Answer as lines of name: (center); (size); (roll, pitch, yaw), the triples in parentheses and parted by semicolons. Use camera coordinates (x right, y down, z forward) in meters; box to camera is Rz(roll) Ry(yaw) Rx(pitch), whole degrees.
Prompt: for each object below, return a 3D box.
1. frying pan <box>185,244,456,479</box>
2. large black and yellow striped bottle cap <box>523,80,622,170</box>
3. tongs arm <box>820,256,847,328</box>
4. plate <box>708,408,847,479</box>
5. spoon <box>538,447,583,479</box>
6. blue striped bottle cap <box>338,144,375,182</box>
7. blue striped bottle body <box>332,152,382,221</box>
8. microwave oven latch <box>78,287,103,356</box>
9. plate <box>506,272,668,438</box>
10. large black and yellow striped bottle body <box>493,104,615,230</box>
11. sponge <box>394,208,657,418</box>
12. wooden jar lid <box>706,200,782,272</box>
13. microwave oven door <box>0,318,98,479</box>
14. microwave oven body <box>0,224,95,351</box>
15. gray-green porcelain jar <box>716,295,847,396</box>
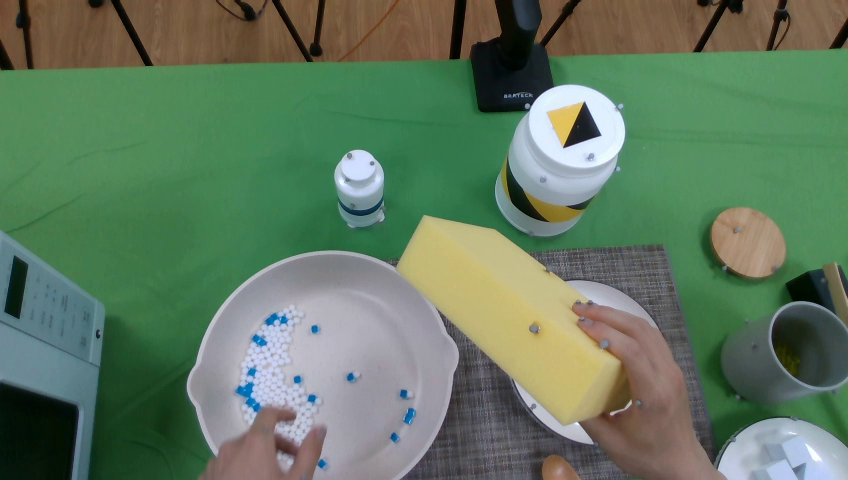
frying pan: (-0.104, 0.240, 0.670); (0.307, 0.103, 0.483); (-5, 61, -5)
large black and yellow striped bottle cap: (0.174, -0.136, 0.709); (0.115, 0.019, 0.114); (2, 67, -3)
tongs arm: (0.572, 0.204, 0.753); (0.051, 0.026, 0.383); (-8, 80, -10)
plate: (0.440, 0.310, 0.730); (0.208, 0.039, 0.206); (2, 68, -4)
spoon: (0.213, 0.313, 0.714); (0.193, 0.022, 0.041); (36, 52, 8)
blue striped bottle cap: (-0.083, -0.095, 0.740); (0.044, 0.021, 0.044); (1, 66, -2)
blue striped bottle body: (-0.086, -0.076, 0.788); (0.063, 0.121, 0.062); (2, 68, -4)
microwave oven latch: (-0.401, 0.097, 0.718); (0.030, 0.029, 0.078); (-1, 69, -6)
plate: (0.201, 0.144, 0.769); (0.209, 0.038, 0.207); (2, 69, -4)
large black and yellow striped bottle body: (0.168, -0.105, 0.788); (0.131, 0.185, 0.130); (2, 68, -4)
sponge: (0.085, 0.057, 0.532); (0.204, 0.119, 0.061); (41, 110, 33)
wooden jar lid: (0.452, -0.004, 0.862); (0.108, 0.021, 0.107); (2, 70, -4)
microwave oven door: (-0.378, 0.262, 0.546); (0.039, 0.245, 0.353); (-3, 69, -6)
microwave oven body: (-0.527, 0.232, 0.550); (0.326, 0.261, 0.438); (-3, 69, -6)
gray-green porcelain jar: (0.435, 0.135, 0.749); (0.106, 0.127, 0.105); (2, 68, -4)
